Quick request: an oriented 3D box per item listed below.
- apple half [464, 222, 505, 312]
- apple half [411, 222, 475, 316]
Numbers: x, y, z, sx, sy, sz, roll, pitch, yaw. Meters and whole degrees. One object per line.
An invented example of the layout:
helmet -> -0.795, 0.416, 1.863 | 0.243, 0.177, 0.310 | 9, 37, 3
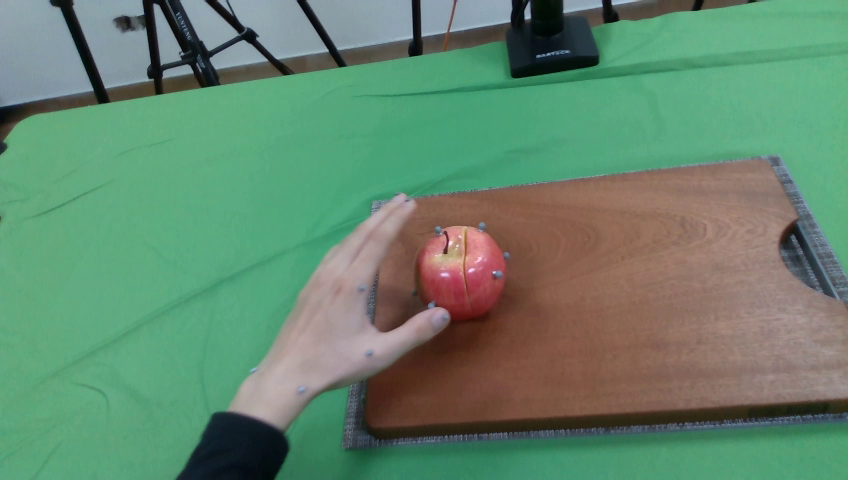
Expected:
apple half -> 0.056, 0.024, 0.532 | 0.033, 0.082, 0.080 | -6, 48, 12
apple half -> 0.017, 0.028, 0.539 | 0.053, 0.075, 0.080 | -8, 51, 13
